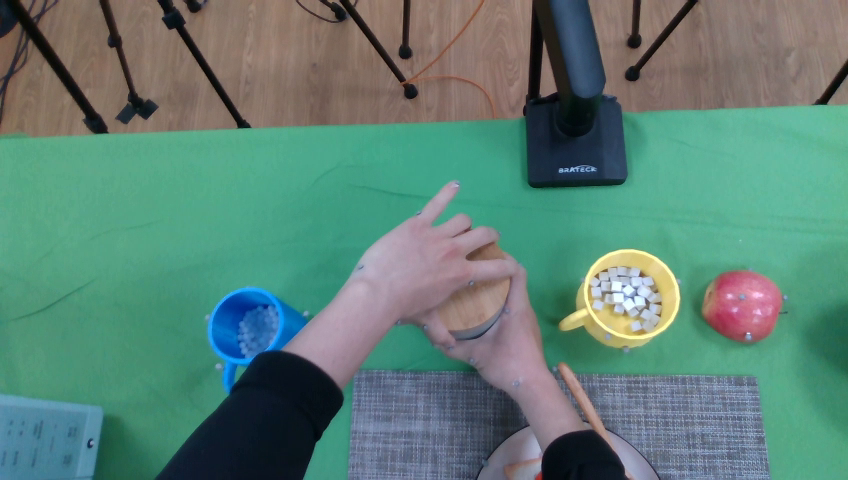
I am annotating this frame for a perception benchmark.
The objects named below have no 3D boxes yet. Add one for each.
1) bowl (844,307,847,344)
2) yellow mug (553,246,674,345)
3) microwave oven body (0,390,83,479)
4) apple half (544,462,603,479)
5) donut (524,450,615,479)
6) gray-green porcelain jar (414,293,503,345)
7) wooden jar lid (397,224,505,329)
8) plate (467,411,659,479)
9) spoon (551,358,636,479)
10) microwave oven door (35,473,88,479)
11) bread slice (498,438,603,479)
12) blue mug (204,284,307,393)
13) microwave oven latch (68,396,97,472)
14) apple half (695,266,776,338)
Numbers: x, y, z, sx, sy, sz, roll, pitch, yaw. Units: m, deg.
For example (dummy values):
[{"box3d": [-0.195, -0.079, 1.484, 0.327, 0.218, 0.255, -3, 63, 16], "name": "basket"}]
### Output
[{"box3d": [0.506, 0.100, 0.628, 0.151, 0.077, 0.150, -2, 73, 6], "name": "bowl"}, {"box3d": [0.205, 0.069, 0.676, 0.131, 0.064, 0.099, -23, 71, -1], "name": "yellow mug"}, {"box3d": [-0.557, 0.359, 0.557, 0.326, 0.262, 0.439, 0, 73, 6], "name": "microwave oven body"}, {"box3d": [0.141, 0.251, 0.567, 0.081, 0.033, 0.080, -4, 68, 11], "name": "apple half"}, {"box3d": [0.146, 0.260, 0.603, 0.099, 0.048, 0.098, -2, 72, 5], "name": "donut"}, {"box3d": [0.034, 0.057, 0.667, 0.106, 0.127, 0.105, -2, 71, 5], "name": "gray-green porcelain jar"}, {"box3d": [0.027, 0.037, 0.608, 0.108, 0.021, 0.107, -2, 71, 7], "name": "wooden jar lid"}, {"box3d": [0.143, 0.284, 0.625, 0.207, 0.039, 0.206, -2, 73, 6], "name": "plate"}, {"box3d": [0.185, 0.210, 0.628, 0.041, 0.022, 0.193, -26, 80, -5], "name": "spoon"}, {"box3d": [-0.414, 0.396, 0.525, 0.039, 0.245, 0.353, -1, 72, 7], "name": "microwave oven door"}, {"box3d": [0.148, 0.283, 0.627, 0.107, 0.018, 0.133, -17, 71, 1], "name": "bread slice"}, {"box3d": [-0.193, 0.117, 0.682, 0.082, 0.106, 0.116, 20, 75, 12], "name": "blue mug"}, {"box3d": [-0.396, 0.219, 0.686, 0.030, 0.030, 0.078, 4, 73, 7], "name": "microwave oven latch"}, {"box3d": [0.347, 0.064, 0.670, 0.074, 0.054, 0.080, 21, 76, 15], "name": "apple half"}]
